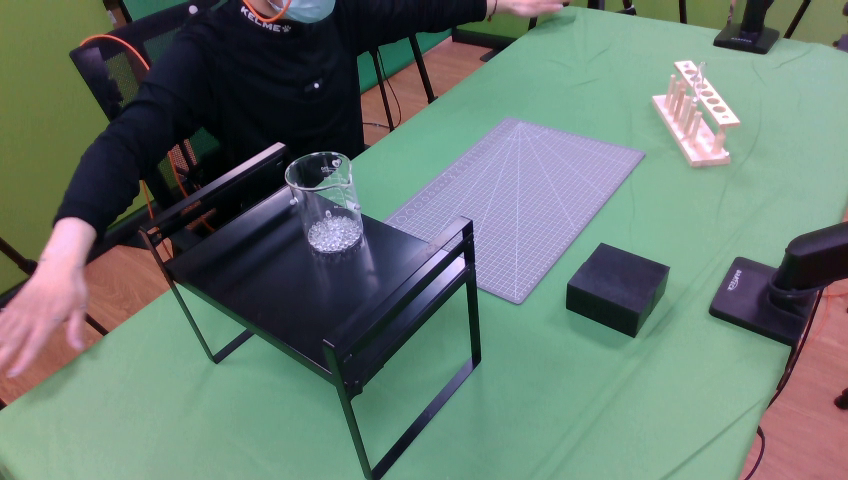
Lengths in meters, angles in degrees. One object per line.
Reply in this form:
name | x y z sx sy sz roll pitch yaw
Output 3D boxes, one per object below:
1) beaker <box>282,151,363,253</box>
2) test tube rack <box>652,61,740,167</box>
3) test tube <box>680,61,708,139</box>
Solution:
beaker | -0.110 -0.041 0.697 0.083 0.101 0.074 18 47 26
test tube rack | 0.499 -0.242 1.130 0.067 0.085 0.241 -5 41 3
test tube | 0.476 -0.245 1.068 0.017 0.151 0.017 -3 42 3
